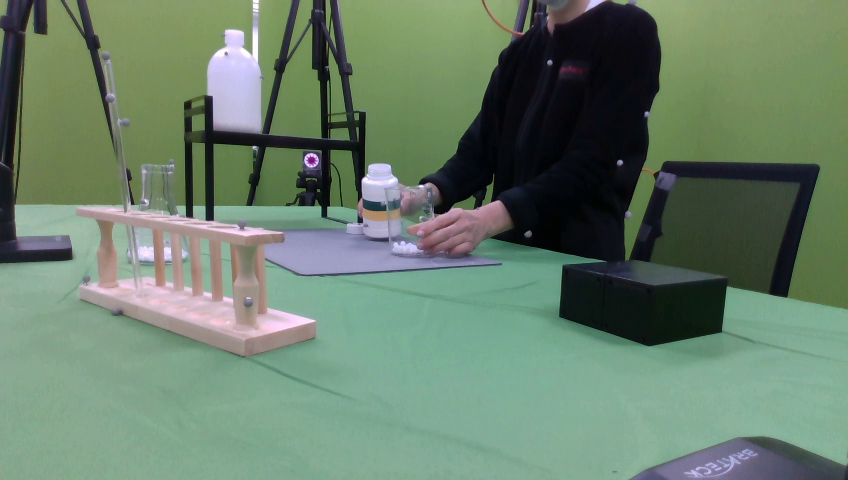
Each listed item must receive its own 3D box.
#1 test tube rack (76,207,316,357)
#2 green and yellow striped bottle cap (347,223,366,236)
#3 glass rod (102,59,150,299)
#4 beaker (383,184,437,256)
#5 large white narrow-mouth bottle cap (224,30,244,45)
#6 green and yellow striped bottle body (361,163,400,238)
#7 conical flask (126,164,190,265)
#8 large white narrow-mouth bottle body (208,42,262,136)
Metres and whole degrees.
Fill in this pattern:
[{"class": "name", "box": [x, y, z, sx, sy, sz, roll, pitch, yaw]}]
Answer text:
[{"class": "test tube rack", "box": [-0.196, 0.023, 0.500, 0.241, 0.085, 0.067, 7, 9, 36]}, {"class": "green and yellow striped bottle cap", "box": [-0.122, -0.020, 1.133, 0.045, 0.020, 0.045, 0, 9, 0]}, {"class": "glass rod", "box": [-0.243, -0.045, 0.496, 0.008, 0.199, 0.008, -4, 12, 1]}, {"class": "beaker", "box": [-0.017, -0.030, 0.886, 0.074, 0.100, 0.083, -7, 7, -16]}, {"class": "large white narrow-mouth bottle cap", "box": [-0.365, -0.389, 1.166, 0.038, 0.024, 0.037, 2, 9, 0]}, {"class": "green and yellow striped bottle body", "box": [-0.074, -0.069, 1.027, 0.063, 0.119, 0.063, 0, 21, 0]}, {"class": "conical flask", "box": [-0.332, -0.033, 0.756, 0.075, 0.122, 0.075, 2, 7, 0]}, {"class": "large white narrow-mouth bottle body", "box": [-0.368, -0.304, 1.181, 0.102, 0.194, 0.101, 2, 9, 0]}]
